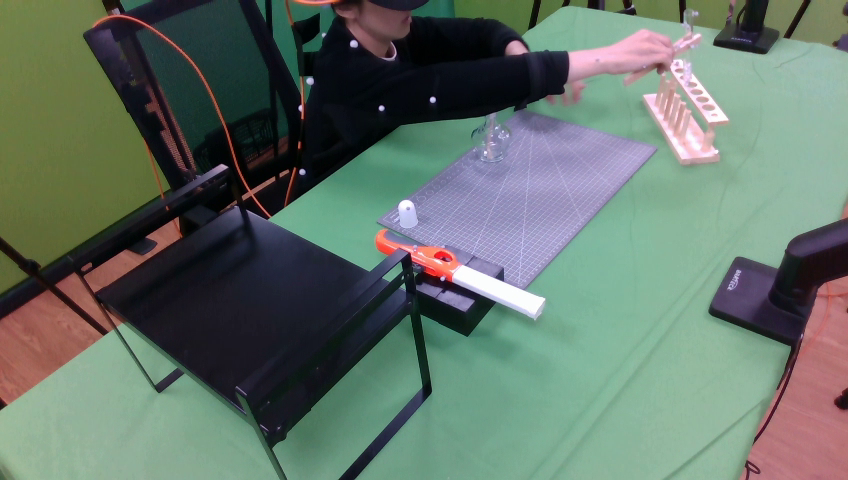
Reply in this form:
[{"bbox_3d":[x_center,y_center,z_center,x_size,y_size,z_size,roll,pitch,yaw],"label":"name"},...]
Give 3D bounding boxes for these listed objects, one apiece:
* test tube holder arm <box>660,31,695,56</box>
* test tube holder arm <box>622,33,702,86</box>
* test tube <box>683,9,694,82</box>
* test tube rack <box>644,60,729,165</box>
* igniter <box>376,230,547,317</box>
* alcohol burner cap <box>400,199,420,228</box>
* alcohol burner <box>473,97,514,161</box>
[{"bbox_3d":[0.440,-0.337,1.050,0.088,0.015,0.010,-38,48,-20],"label":"test tube holder arm"},{"bbox_3d":[0.407,-0.310,1.033,0.179,0.015,0.013,-33,46,-15],"label":"test tube holder arm"},{"bbox_3d":[0.465,-0.339,1.066,0.017,0.151,0.017,-11,51,14],"label":"test tube"},{"bbox_3d":[0.486,-0.247,1.139,0.067,0.085,0.241,-5,41,4],"label":"test tube rack"},{"bbox_3d":[0.041,0.041,0.845,0.274,0.025,0.057,22,46,27],"label":"igniter"},{"bbox_3d":[-0.025,-0.047,1.014,0.034,0.048,0.033,-4,42,4],"label":"alcohol burner cap"},{"bbox_3d":[0.128,-0.208,1.123,0.078,0.119,0.077,-5,39,4],"label":"alcohol burner"}]
